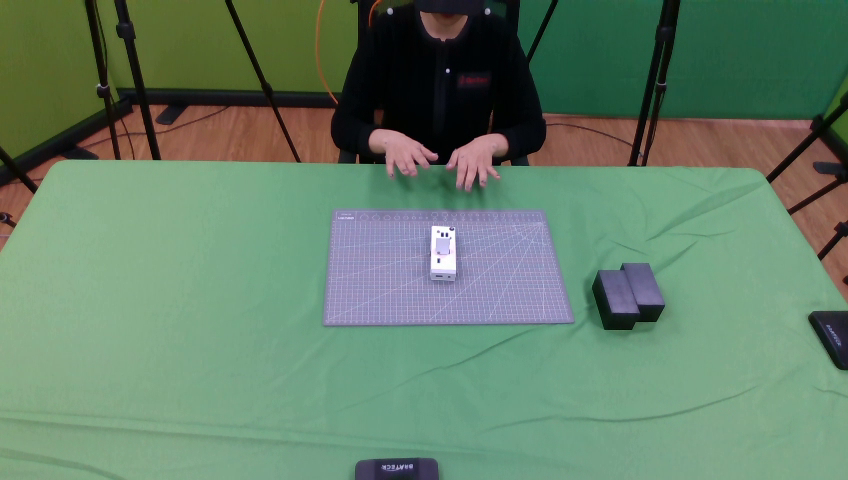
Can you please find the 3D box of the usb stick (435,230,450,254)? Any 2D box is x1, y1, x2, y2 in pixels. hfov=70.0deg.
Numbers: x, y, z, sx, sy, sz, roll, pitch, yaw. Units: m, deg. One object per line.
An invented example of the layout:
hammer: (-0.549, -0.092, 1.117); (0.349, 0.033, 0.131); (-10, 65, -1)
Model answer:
usb stick: (0.034, 0.009, 1.146); (0.027, 0.059, 0.021); (3, 46, -4)

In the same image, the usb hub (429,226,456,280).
usb hub: (0.037, 0.024, 1.173); (0.049, 0.025, 0.124); (3, 46, -2)
